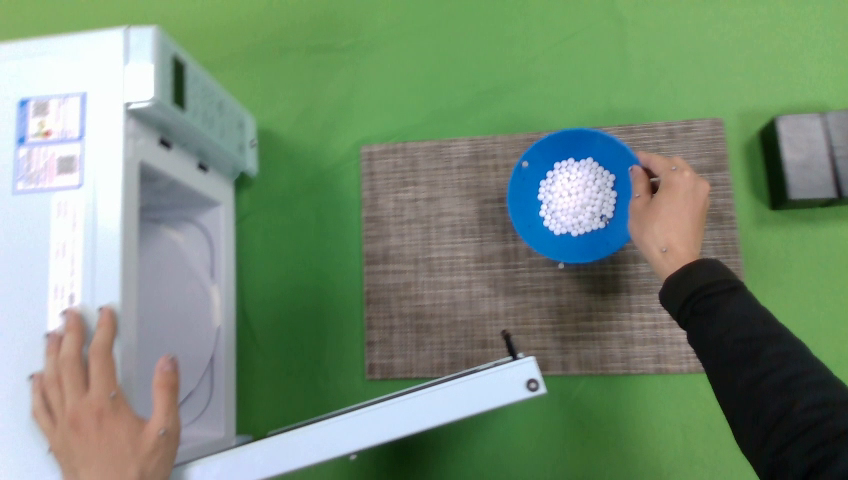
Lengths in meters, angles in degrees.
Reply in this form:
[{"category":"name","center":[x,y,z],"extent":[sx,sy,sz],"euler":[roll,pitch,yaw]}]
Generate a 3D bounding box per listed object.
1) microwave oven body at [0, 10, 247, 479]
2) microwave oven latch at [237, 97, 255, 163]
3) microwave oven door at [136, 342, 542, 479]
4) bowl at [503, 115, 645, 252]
[{"category":"microwave oven body","center":[-0.380,0.030,0.660],"extent":[0.326,0.261,0.440],"euler":[-5,81,5]},{"category":"microwave oven latch","center":[-0.232,-0.140,0.767],"extent":[0.030,0.029,0.079],"euler":[-5,81,5]},{"category":"microwave oven door","center":[-0.064,0.171,0.597],"extent":[0.356,0.245,0.039],"euler":[-19,79,3]},{"category":"bowl","center":[0.169,-0.059,0.691],"extent":[0.151,0.077,0.151],"euler":[-1,87,13]}]
